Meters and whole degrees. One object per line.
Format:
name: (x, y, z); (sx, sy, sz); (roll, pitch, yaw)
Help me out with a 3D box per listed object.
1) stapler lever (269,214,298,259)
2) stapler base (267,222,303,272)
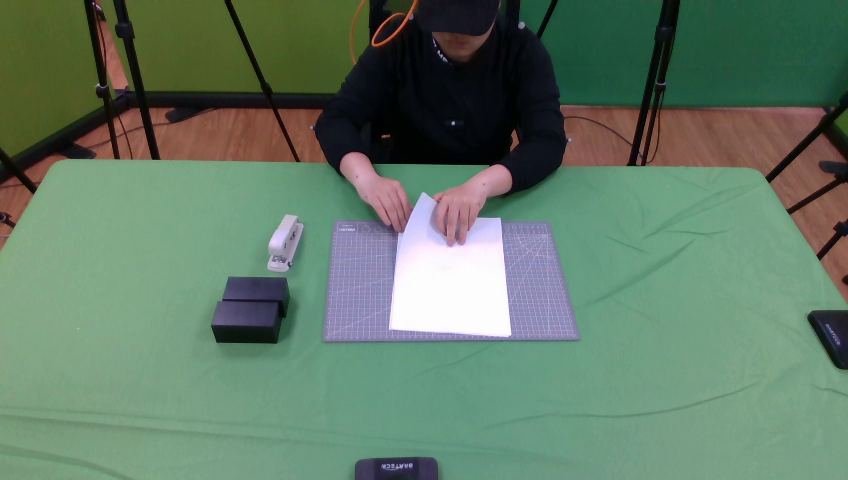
stapler lever: (-0.268, -0.014, 1.154); (0.027, 0.040, 0.117); (8, 44, 0)
stapler base: (-0.269, 0.005, 1.170); (0.041, 0.024, 0.130); (8, 44, 0)
